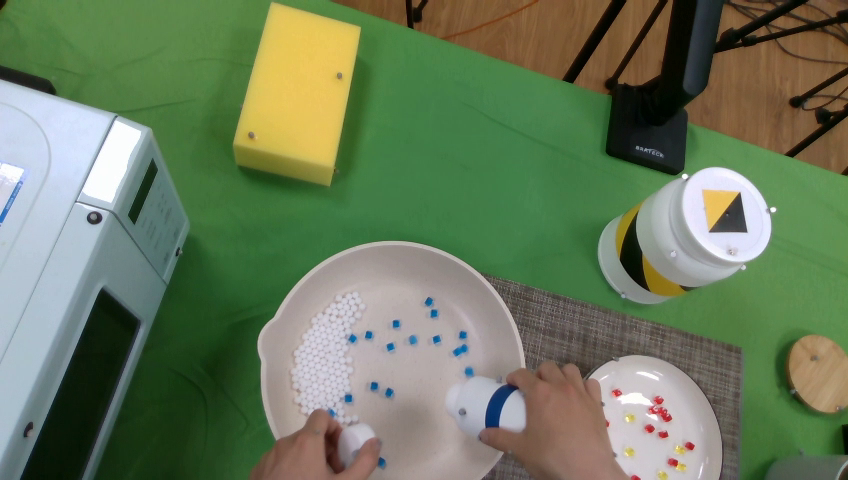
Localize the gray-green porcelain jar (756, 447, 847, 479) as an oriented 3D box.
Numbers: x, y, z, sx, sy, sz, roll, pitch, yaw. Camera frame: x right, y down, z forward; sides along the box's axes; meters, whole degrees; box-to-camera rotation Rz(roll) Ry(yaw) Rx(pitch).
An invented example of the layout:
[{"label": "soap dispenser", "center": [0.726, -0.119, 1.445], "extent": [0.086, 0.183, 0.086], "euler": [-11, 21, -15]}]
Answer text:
[{"label": "gray-green porcelain jar", "center": [0.487, 0.309, 0.742], "extent": [0.106, 0.127, 0.105], "euler": [4, 72, -12]}]

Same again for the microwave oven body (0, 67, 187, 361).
[{"label": "microwave oven body", "center": [-0.447, 0.085, 0.505], "extent": [0.327, 0.260, 0.439], "euler": [17, 71, -9]}]

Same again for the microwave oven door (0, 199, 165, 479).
[{"label": "microwave oven door", "center": [-0.317, 0.163, 0.507], "extent": [0.039, 0.244, 0.354], "euler": [16, 70, -8]}]

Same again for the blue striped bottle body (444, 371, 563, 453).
[{"label": "blue striped bottle body", "center": [0.077, 0.173, 0.627], "extent": [0.063, 0.120, 0.063], "euler": [-4, 95, -46]}]

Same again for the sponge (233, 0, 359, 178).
[{"label": "sponge", "center": [-0.159, -0.195, 0.769], "extent": [0.118, 0.061, 0.205], "euler": [11, 72, -10]}]

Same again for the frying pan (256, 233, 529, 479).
[{"label": "frying pan", "center": [-0.053, 0.229, 0.643], "extent": [0.307, 0.103, 0.484], "euler": [15, 63, -6]}]

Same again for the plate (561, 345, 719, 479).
[{"label": "plate", "center": [0.264, 0.237, 0.752], "extent": [0.210, 0.038, 0.208], "euler": [4, 73, -12]}]

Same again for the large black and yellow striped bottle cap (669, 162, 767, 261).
[{"label": "large black and yellow striped bottle cap", "center": [0.333, -0.033, 0.685], "extent": [0.115, 0.019, 0.114], "euler": [4, 71, -12]}]

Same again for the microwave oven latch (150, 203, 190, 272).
[{"label": "microwave oven latch", "center": [-0.287, -0.007, 0.675], "extent": [0.030, 0.029, 0.079], "euler": [19, 71, -8]}]

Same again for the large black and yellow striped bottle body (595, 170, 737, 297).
[{"label": "large black and yellow striped bottle body", "center": [0.315, -0.008, 0.765], "extent": [0.131, 0.184, 0.130], "euler": [4, 72, -12]}]

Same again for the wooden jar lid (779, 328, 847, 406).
[{"label": "wooden jar lid", "center": [0.547, 0.179, 0.853], "extent": [0.109, 0.021, 0.108], "euler": [4, 74, -12]}]

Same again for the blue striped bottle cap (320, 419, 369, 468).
[{"label": "blue striped bottle cap", "center": [-0.076, 0.193, 0.575], "extent": [0.044, 0.021, 0.044], "euler": [-7, 71, 21]}]
